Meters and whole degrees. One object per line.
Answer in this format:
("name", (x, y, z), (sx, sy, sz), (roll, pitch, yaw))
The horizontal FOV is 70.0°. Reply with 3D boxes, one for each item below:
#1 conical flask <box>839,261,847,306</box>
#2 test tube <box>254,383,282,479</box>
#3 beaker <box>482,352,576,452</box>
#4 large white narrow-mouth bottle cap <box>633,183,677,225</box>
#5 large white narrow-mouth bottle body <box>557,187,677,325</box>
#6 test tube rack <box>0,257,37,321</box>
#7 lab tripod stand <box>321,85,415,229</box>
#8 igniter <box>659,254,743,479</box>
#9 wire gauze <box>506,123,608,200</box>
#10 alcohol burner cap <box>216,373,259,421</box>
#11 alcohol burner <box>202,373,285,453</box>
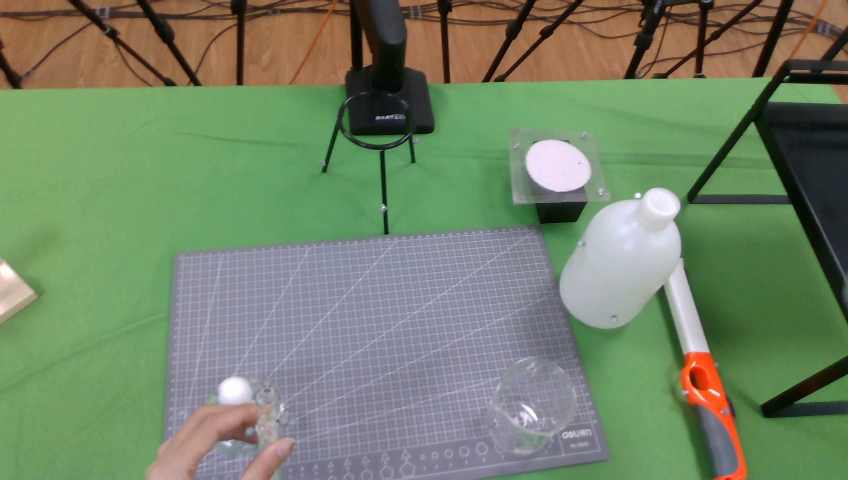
("conical flask", (0.351, 0.012, 0.419), (0.075, 0.123, 0.074), (-5, 58, 9))
("test tube", (-0.109, 0.144, 0.427), (0.017, 0.151, 0.017), (7, 47, -7))
("beaker", (0.097, 0.167, 0.606), (0.084, 0.101, 0.073), (-7, 59, -10))
("large white narrow-mouth bottle cap", (0.225, -0.035, 0.592), (0.038, 0.024, 0.037), (3, 58, -4))
("large white narrow-mouth bottle body", (0.217, 0.012, 0.664), (0.102, 0.196, 0.101), (3, 58, -4))
("test tube rack", (-0.525, 0.093, 0.586), (0.066, 0.086, 0.242), (38, 61, 16))
("lab tripod stand", (-0.059, -0.107, 0.740), (0.149, 0.132, 0.147), (4, 59, -6))
("igniter", (0.311, 0.137, 0.697), (0.057, 0.025, 0.274), (7, 57, -15))
("wire gauze", (0.168, -0.101, 0.780), (0.121, 0.011, 0.124), (2, 58, -6))
("alcohol burner cap", (-0.168, 0.138, 0.540), (0.034, 0.048, 0.033), (2, 53, -2))
("alcohol burner", (-0.172, 0.157, 0.571), (0.078, 0.120, 0.077), (4, 56, -6))
